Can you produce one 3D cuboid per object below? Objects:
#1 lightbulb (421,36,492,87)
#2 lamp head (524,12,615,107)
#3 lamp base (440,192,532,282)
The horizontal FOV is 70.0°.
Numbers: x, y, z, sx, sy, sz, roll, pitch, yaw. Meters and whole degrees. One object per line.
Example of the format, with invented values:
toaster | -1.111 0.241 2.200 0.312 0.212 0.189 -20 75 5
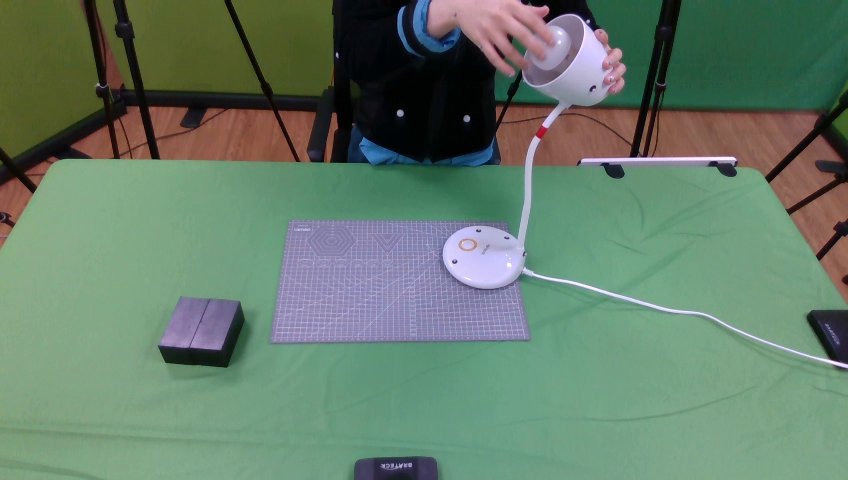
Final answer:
lightbulb | 0.047 -0.249 0.863 0.108 0.060 0.059 24 47 -6
lamp head | 0.221 -0.247 0.885 0.112 0.123 0.111 -25 47 29
lamp base | 0.127 -0.032 1.123 0.179 0.181 0.159 11 46 2
